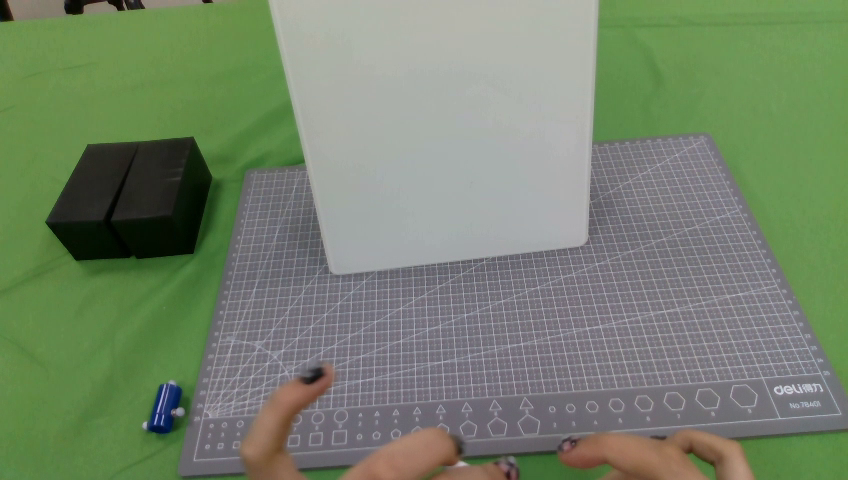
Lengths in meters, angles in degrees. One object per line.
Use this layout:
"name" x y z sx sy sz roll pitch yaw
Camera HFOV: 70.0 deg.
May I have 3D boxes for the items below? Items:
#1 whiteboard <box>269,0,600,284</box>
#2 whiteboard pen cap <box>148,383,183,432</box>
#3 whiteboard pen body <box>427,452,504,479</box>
"whiteboard" 0.011 -0.142 0.481 0.217 0.308 0.142 -6 30 1
"whiteboard pen cap" -0.184 0.120 0.429 0.018 0.018 0.033 -2 51 3
"whiteboard pen body" 0.063 0.130 0.267 0.140 0.017 0.017 28 56 10
